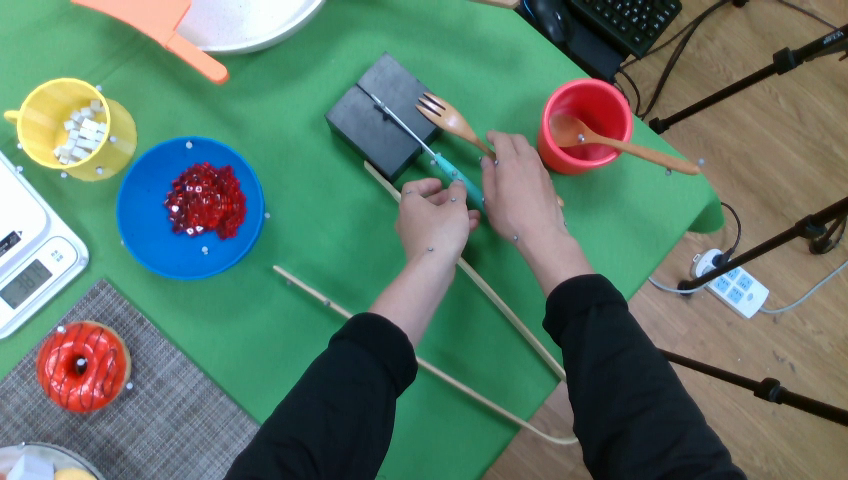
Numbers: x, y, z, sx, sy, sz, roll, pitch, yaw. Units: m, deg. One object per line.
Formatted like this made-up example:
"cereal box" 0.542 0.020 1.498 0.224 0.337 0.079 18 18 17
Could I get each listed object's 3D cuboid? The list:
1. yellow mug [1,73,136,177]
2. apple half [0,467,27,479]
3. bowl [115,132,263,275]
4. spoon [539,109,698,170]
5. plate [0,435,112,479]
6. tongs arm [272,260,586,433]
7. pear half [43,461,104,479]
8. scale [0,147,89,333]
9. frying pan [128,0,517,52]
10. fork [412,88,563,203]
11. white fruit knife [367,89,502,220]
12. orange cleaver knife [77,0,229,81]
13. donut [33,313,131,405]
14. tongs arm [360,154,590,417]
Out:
"yellow mug" -0.400 -0.128 0.673 0.131 0.064 0.099 10 85 0
"apple half" -0.452 0.281 0.625 0.081 0.053 0.074 31 87 -2
"bowl" -0.244 -0.034 0.663 0.151 0.077 0.151 0 85 -2
"spoon" 0.201 -0.106 0.649 0.041 0.022 0.191 -53 44 -6
"plate" -0.417 0.310 0.641 0.209 0.038 0.208 0 84 -2
"tongs arm" 0.005 0.112 0.678 0.385 0.026 0.050 33 80 1
"pear half" -0.371 0.278 0.639 0.088 0.031 0.070 45 99 5
"scale" -0.492 -0.010 0.676 0.148 0.031 0.200 -43 88 -4
"frying pan" -0.131 -0.322 0.680 0.487 0.103 0.306 15 85 8
"fork" 0.076 -0.103 0.684 0.208 0.018 0.028 34 84 -13
"white fruit knife" 0.014 -0.094 0.675 0.208 0.027 0.016 42 85 -12
"orange cleaver knife" -0.289 -0.248 0.649 0.211 0.012 0.077 32 81 1
"donut" -0.370 0.129 0.656 0.099 0.048 0.099 0 87 0
"tongs arm" 0.057 0.047 0.689 0.028 0.028 0.387 -42 87 -13
